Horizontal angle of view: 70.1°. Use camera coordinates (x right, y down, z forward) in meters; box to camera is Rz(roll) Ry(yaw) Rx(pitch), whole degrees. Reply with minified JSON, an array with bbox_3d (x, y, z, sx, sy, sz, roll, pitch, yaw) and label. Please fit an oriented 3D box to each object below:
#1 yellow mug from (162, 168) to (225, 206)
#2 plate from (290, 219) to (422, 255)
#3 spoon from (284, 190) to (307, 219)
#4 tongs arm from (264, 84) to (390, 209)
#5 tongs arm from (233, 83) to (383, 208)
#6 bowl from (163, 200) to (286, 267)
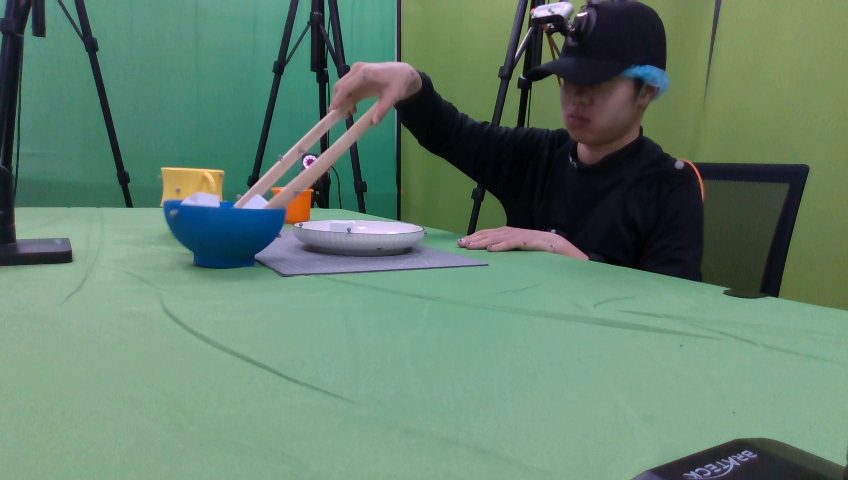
[{"bbox_3d":[-0.383,-0.087,1.026,0.130,0.064,0.100,11,12,44],"label":"yellow mug"},{"bbox_3d":[-0.108,-0.005,0.963,0.208,0.039,0.207,3,7,0],"label":"plate"},{"bbox_3d":[-0.262,-0.115,1.359,0.041,0.194,0.022,12,-33,38],"label":"spoon"},{"bbox_3d":[-0.134,-0.142,0.915,0.028,0.028,0.388,10,41,22],"label":"tongs arm"},{"bbox_3d":[-0.161,-0.148,0.924,0.050,0.026,0.385,11,42,17],"label":"tongs arm"},{"bbox_3d":[-0.258,-0.008,0.785,0.151,0.077,0.151,4,5,0],"label":"bowl"}]
